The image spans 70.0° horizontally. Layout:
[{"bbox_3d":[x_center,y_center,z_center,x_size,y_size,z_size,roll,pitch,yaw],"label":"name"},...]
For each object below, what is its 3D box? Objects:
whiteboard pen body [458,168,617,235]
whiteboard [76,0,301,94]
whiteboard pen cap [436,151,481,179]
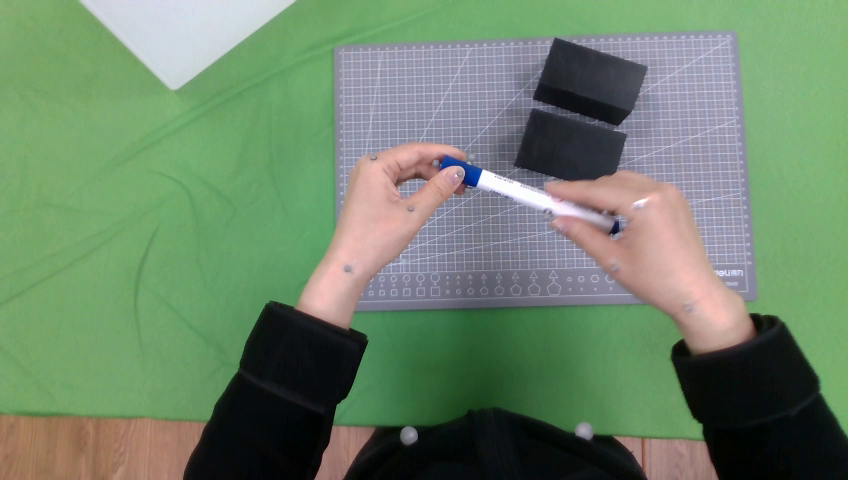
[{"bbox_3d":[0.081,-0.033,0.466,0.141,0.017,0.017,20,85,-1],"label":"whiteboard pen body"},{"bbox_3d":[-0.274,-0.337,0.583,0.217,0.308,0.142,-37,64,-2],"label":"whiteboard"},{"bbox_3d":[0.027,-0.056,0.468,0.033,0.018,0.018,14,84,-10],"label":"whiteboard pen cap"}]
